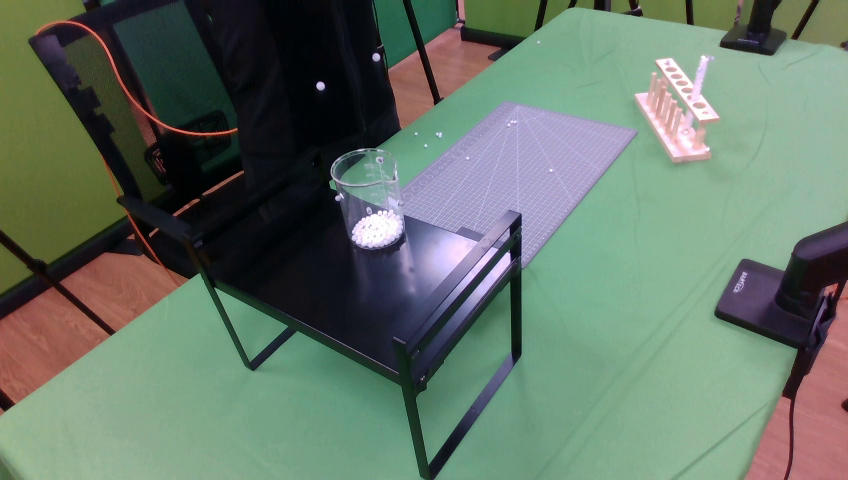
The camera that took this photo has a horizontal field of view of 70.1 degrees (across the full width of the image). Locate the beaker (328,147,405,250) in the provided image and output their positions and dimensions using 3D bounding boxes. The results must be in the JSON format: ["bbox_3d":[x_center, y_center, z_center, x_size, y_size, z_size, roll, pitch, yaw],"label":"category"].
[{"bbox_3d":[-0.060,-0.045,0.699,0.083,0.101,0.074,19,47,27],"label":"beaker"}]

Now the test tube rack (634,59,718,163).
[{"bbox_3d":[0.470,-0.250,1.148,0.067,0.085,0.241,-6,40,3],"label":"test tube rack"}]

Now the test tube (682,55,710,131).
[{"bbox_3d":[0.484,-0.259,1.079,0.017,0.151,0.017,-3,44,4],"label":"test tube"}]
